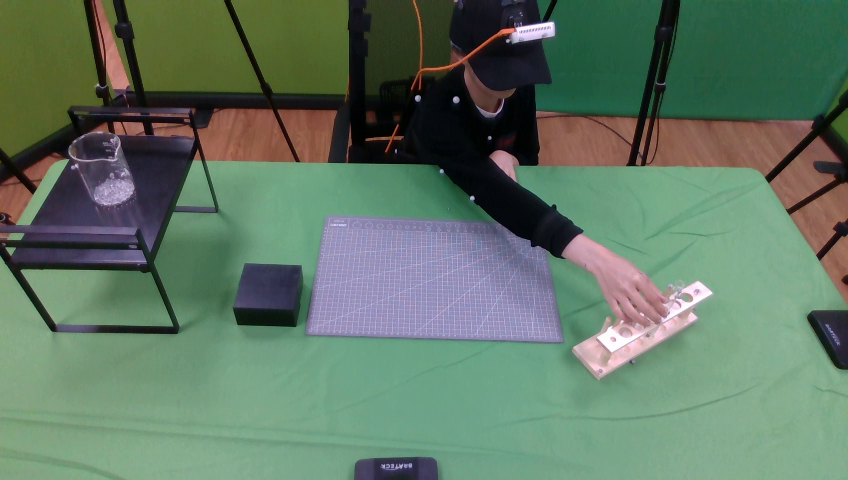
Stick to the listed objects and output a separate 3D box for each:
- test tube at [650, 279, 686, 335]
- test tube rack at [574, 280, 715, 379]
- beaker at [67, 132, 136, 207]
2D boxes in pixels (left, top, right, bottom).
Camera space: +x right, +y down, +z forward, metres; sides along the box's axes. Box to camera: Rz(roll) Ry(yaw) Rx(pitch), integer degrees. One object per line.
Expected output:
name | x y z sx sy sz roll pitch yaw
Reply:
test tube | 0.399 0.113 0.996 0.017 0.151 0.017 1 50 -1
test tube rack | 0.378 0.140 1.038 0.242 0.085 0.066 -22 51 -23
beaker | -0.504 -0.109 0.962 0.083 0.101 0.074 25 50 19
